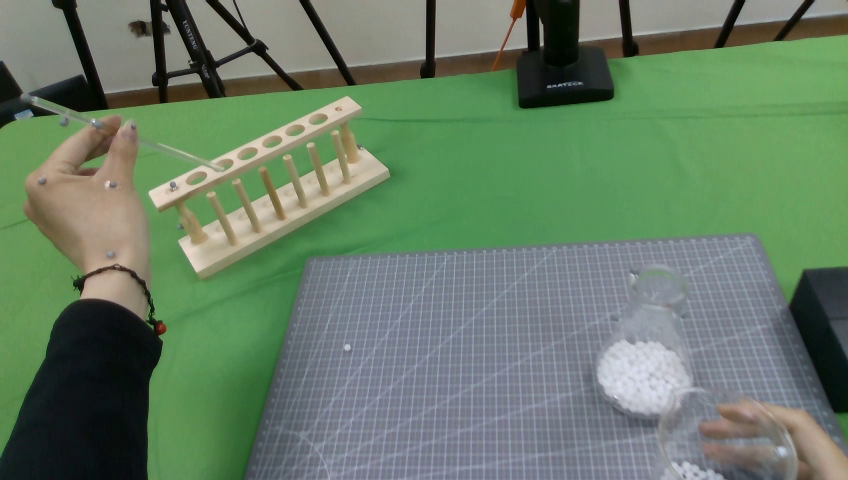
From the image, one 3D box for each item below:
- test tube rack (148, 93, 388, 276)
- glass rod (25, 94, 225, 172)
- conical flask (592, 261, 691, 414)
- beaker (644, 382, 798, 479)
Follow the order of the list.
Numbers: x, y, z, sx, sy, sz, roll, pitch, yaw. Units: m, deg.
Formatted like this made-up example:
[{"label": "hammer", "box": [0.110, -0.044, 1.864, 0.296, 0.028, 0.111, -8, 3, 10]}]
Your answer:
[{"label": "test tube rack", "box": [-0.165, -0.066, 0.676, 0.242, 0.086, 0.066, -31, 48, -18]}, {"label": "glass rod", "box": [-0.238, -0.084, 0.513, 0.008, 0.201, 0.008, -4, 80, 22]}, {"label": "conical flask", "box": [0.165, 0.069, 0.448, 0.075, 0.123, 0.074, -6, 46, 6]}, {"label": "beaker", "box": [0.178, 0.147, 0.385, 0.074, 0.101, 0.083, -21, 45, -9]}]
